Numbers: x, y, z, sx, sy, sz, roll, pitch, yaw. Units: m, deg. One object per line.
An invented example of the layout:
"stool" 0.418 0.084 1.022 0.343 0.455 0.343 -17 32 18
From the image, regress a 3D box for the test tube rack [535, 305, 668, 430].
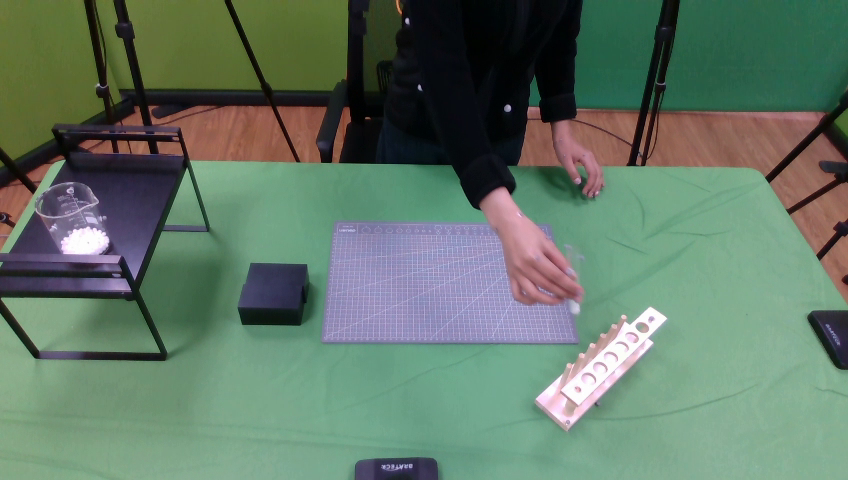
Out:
"test tube rack" 0.290 0.193 0.984 0.242 0.085 0.066 -32 57 -30

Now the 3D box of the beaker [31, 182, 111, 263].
"beaker" -0.502 -0.022 0.877 0.084 0.101 0.073 -2 47 -7

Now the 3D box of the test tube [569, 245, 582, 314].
"test tube" 0.214 0.060 0.856 0.017 0.151 0.017 -8 48 9
